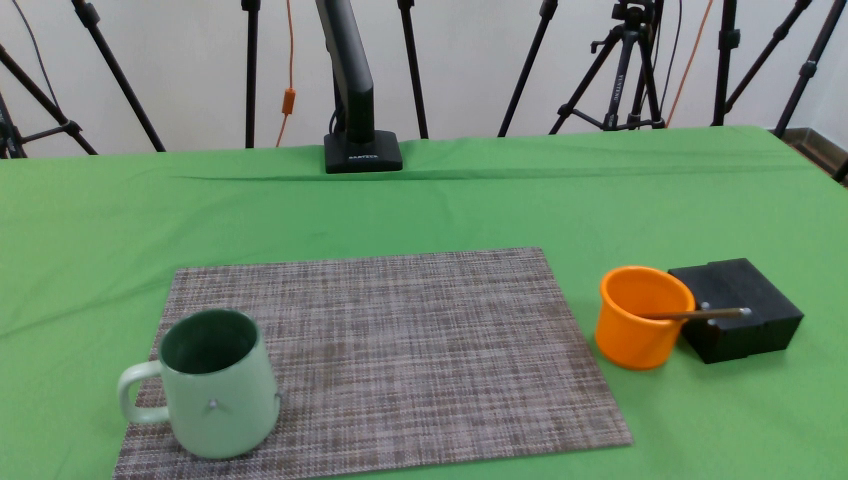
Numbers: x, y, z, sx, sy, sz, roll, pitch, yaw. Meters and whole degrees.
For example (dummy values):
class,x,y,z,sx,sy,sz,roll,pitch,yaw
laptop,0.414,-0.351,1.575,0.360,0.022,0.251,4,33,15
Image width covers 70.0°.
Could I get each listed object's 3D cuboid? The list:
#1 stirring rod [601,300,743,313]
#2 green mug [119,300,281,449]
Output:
class,x,y,z,sx,sy,sz,roll,pitch,yaw
stirring rod,0.233,0.065,0.590,0.014,0.006,0.176,-13,-3,-23
green mug,-0.190,0.119,0.516,0.125,0.106,0.091,-10,38,-16
